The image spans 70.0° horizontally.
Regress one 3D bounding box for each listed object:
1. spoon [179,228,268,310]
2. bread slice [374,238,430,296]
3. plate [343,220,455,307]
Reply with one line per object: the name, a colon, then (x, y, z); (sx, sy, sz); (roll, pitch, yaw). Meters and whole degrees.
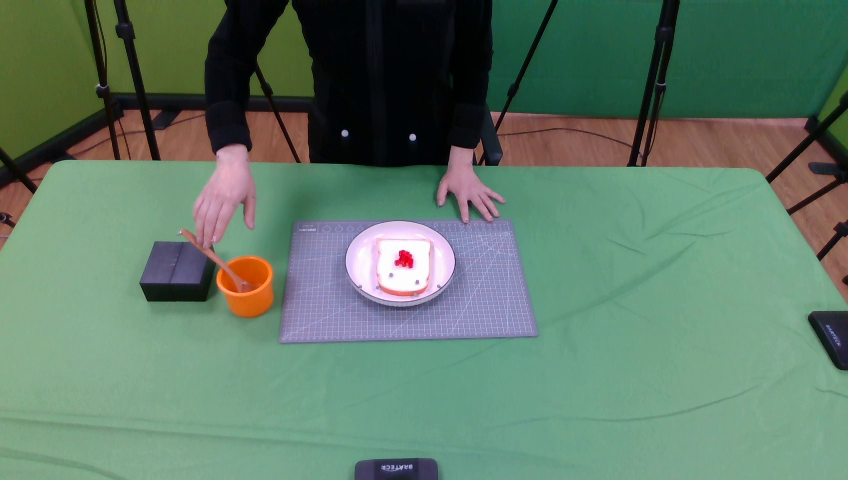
spoon: (-0.342, 0.048, 1.037); (0.021, 0.194, 0.041); (-19, 28, 44)
bread slice: (-0.039, 0.048, 1.135); (0.107, 0.018, 0.133); (-1, 47, -4)
plate: (-0.047, 0.046, 1.135); (0.209, 0.038, 0.208); (2, 46, -2)
